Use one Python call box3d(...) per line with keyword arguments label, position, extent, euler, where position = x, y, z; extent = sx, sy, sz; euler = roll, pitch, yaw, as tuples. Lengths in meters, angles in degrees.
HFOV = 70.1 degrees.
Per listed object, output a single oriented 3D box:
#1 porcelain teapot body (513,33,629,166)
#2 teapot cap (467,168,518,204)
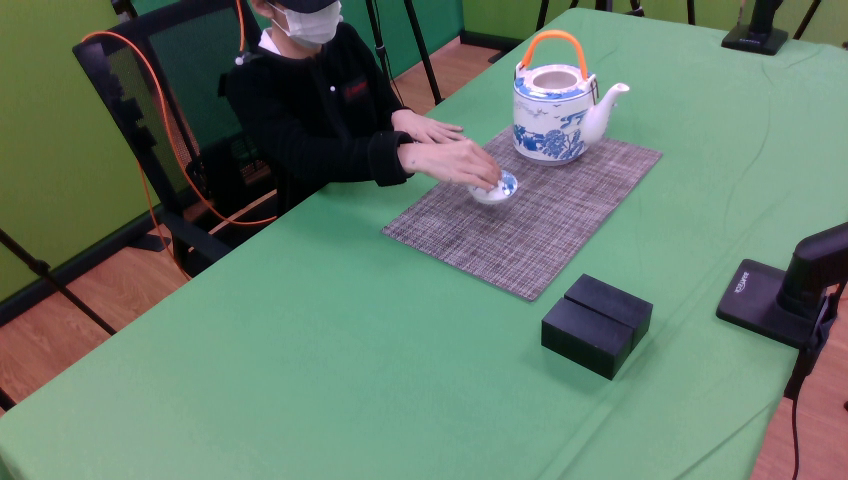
box3d(label="porcelain teapot body", position=(0.256, -0.248, 1.065), extent=(0.204, 0.226, 0.145), euler=(19, 47, 28))
box3d(label="teapot cap", position=(0.113, -0.096, 0.994), extent=(0.085, 0.044, 0.085), euler=(1, 42, 0))
